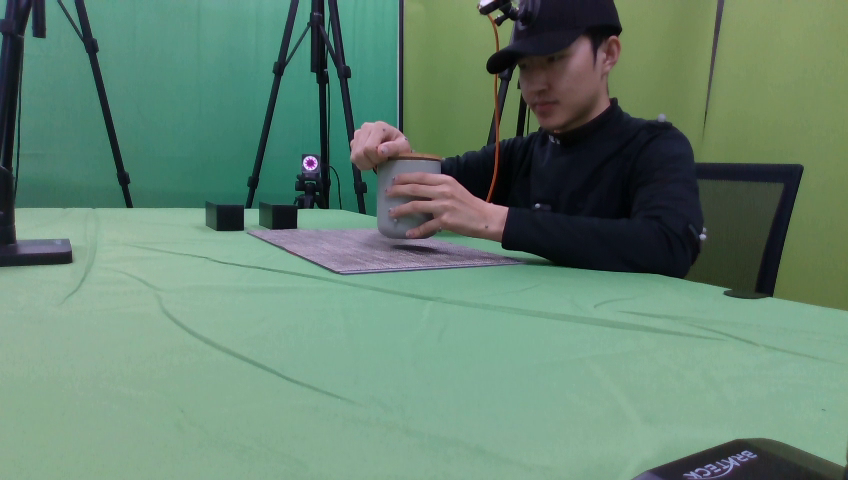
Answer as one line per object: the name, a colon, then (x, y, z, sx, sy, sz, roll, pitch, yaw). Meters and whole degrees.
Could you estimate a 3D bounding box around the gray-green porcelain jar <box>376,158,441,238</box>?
gray-green porcelain jar: (-0.025, -0.069, 0.989, 0.106, 0.126, 0.106, 0, 5, 0)

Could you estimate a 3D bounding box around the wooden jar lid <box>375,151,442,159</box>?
wooden jar lid: (-0.025, -0.131, 0.983, 0.108, 0.020, 0.108, 3, 3, 0)
